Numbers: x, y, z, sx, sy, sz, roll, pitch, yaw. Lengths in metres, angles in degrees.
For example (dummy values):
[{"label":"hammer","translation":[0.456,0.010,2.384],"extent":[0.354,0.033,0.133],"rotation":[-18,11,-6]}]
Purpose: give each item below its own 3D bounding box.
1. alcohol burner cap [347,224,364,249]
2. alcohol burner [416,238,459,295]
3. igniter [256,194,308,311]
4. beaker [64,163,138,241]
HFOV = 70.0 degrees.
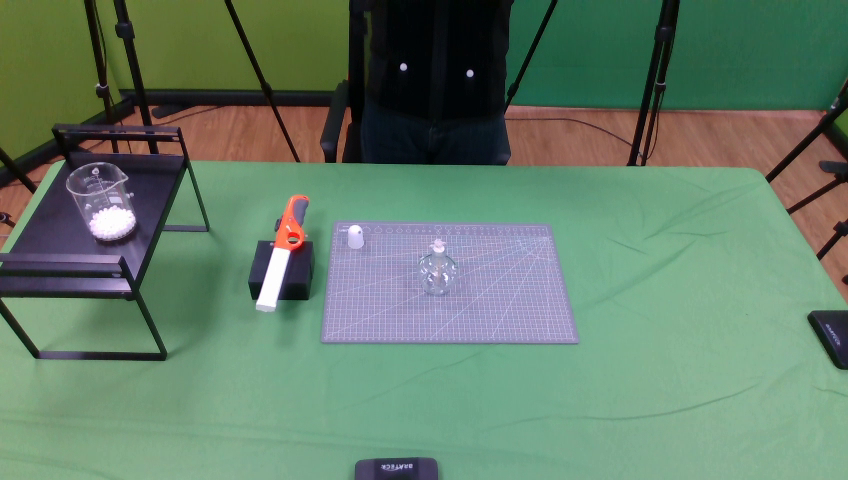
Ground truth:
[{"label":"alcohol burner cap","translation":[-0.134,-0.011,1.177],"extent":[0.034,0.048,0.033],"rotation":[2,47,-2]},{"label":"alcohol burner","translation":[0.024,0.042,1.088],"extent":[0.078,0.120,0.077],"rotation":[1,46,0]},{"label":"igniter","translation":[-0.254,0.012,1.096],"extent":[0.057,0.025,0.275],"rotation":[12,46,-8]},{"label":"beaker","translation":[-0.477,-0.055,0.910],"extent":[0.084,0.101,0.073],"rotation":[-9,48,-13]}]
